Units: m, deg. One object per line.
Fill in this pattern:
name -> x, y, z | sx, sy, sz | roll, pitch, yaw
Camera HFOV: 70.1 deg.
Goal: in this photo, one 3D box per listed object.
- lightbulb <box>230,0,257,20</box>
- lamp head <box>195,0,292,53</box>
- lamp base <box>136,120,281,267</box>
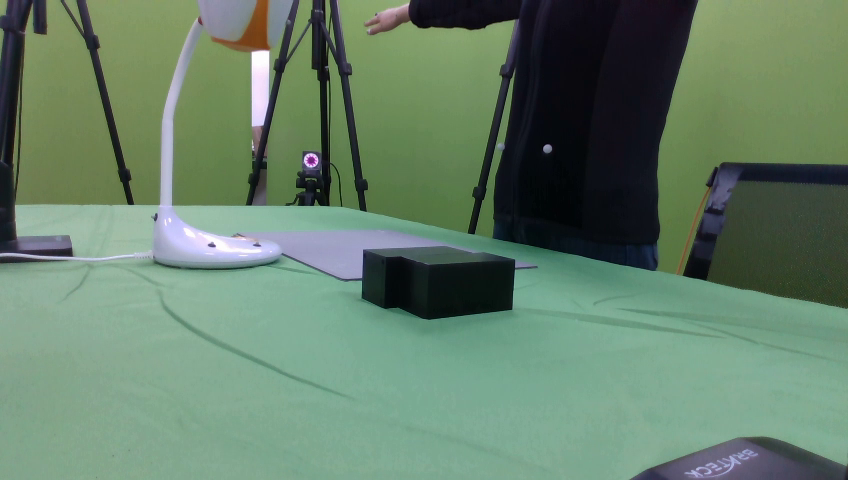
lightbulb -> -0.175, -0.275, 0.603 | 0.059, 0.107, 0.059 | 11, 11, -2
lamp head -> -0.185, -0.254, 0.610 | 0.112, 0.123, 0.112 | 10, 20, -3
lamp base -> -0.275, -0.061, 0.773 | 0.160, 0.180, 0.180 | 9, 13, 44
